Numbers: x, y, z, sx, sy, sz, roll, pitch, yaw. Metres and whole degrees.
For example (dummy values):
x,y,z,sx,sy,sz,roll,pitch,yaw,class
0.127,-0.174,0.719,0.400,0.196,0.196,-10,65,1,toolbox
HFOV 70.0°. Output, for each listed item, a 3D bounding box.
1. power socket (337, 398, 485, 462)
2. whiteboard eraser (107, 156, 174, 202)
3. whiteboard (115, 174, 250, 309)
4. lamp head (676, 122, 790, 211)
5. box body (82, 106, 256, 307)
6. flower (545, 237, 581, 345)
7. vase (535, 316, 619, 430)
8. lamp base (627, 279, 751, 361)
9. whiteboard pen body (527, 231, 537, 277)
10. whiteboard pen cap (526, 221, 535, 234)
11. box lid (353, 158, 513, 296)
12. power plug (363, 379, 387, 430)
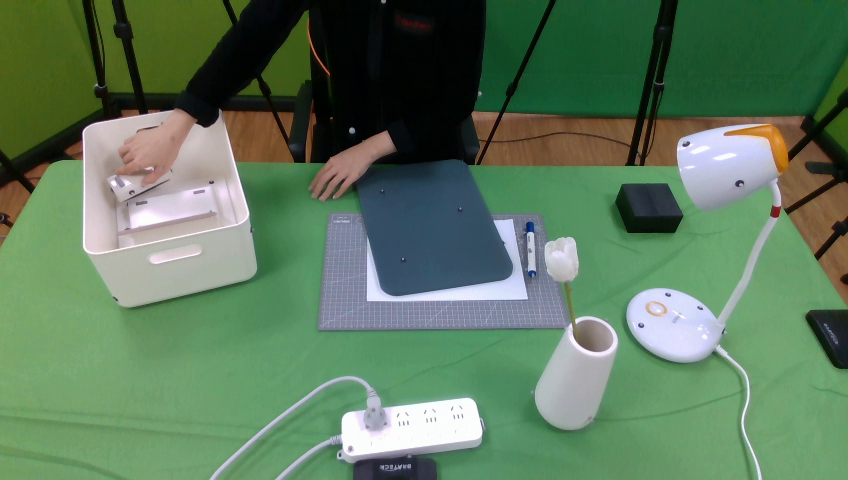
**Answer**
x,y,z,sx,sy,sz,roll,pitch,yaw,class
-0.018,0.285,0.914,0.227,0.033,0.071,-4,46,-8,power socket
-0.556,-0.118,1.192,0.112,0.042,0.055,-32,61,-23,whiteboard eraser
-0.473,-0.055,1.130,0.217,0.144,0.303,-14,50,-16,whiteboard
0.423,-0.104,0.819,0.122,0.113,0.112,-13,33,40,lamp head
-0.471,-0.070,1.131,0.254,0.161,0.361,-14,49,-17,box body
0.213,0.137,0.846,0.038,0.364,0.044,21,55,40,flower
0.229,0.200,0.901,0.098,0.201,0.097,3,46,-3,vase
0.460,0.100,1.027,0.178,0.181,0.160,27,51,17,lamp base
0.211,0.018,1.191,0.017,0.017,0.140,6,44,2,whiteboard pen body
0.216,-0.022,1.234,0.018,0.018,0.033,6,44,1,whiteboard pen cap
0.008,-0.039,1.242,0.264,0.015,0.369,-8,47,-12,box lid
-0.071,0.252,0.911,0.035,0.053,0.072,3,40,0,power plug
